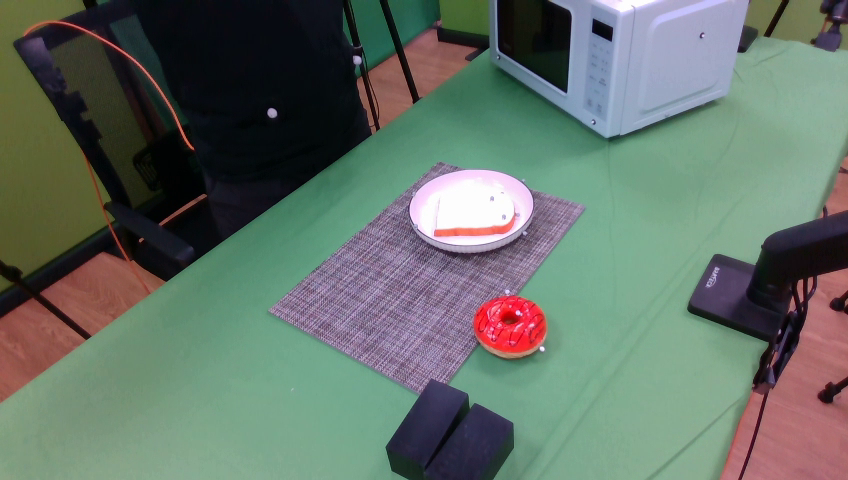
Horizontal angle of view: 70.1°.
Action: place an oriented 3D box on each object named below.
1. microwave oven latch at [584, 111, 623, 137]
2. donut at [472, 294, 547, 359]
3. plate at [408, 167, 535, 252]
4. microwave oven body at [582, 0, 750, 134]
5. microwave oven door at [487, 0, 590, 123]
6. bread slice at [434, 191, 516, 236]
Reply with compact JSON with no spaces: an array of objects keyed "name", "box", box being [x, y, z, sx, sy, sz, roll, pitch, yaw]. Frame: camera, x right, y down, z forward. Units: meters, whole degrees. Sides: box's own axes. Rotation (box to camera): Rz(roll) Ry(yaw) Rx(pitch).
[{"name":"microwave oven latch","box":[0.337,-0.222,1.142,0.030,0.029,0.078,-21,42,-14]},{"name":"donut","box":[0.114,0.114,0.803,0.099,0.048,0.098,0,40,1]},{"name":"plate","box":[0.078,-0.047,0.996,0.207,0.039,0.206,-4,41,4]},{"name":"microwave oven body","box":[0.382,-0.444,1.246,0.327,0.261,0.437,-22,42,-16]},{"name":"microwave oven door","box":[0.232,-0.420,1.231,0.039,0.245,0.352,-22,43,-16]},{"name":"bread slice","box":[0.085,-0.046,0.995,0.131,0.019,0.104,-1,41,7]}]
